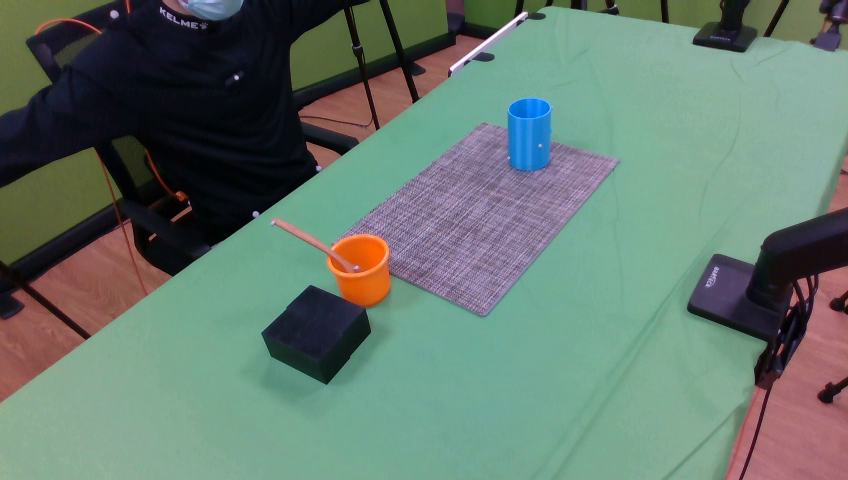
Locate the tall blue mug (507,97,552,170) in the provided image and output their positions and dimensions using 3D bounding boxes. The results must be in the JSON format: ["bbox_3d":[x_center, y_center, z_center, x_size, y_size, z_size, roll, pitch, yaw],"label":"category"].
[{"bbox_3d":[0.179,-0.198,1.101,0.078,0.108,0.106,-36,49,-28],"label":"tall blue mug"}]

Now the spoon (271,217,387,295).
[{"bbox_3d":[-0.134,0.022,0.865,0.021,0.195,0.041,-36,25,39],"label":"spoon"}]
